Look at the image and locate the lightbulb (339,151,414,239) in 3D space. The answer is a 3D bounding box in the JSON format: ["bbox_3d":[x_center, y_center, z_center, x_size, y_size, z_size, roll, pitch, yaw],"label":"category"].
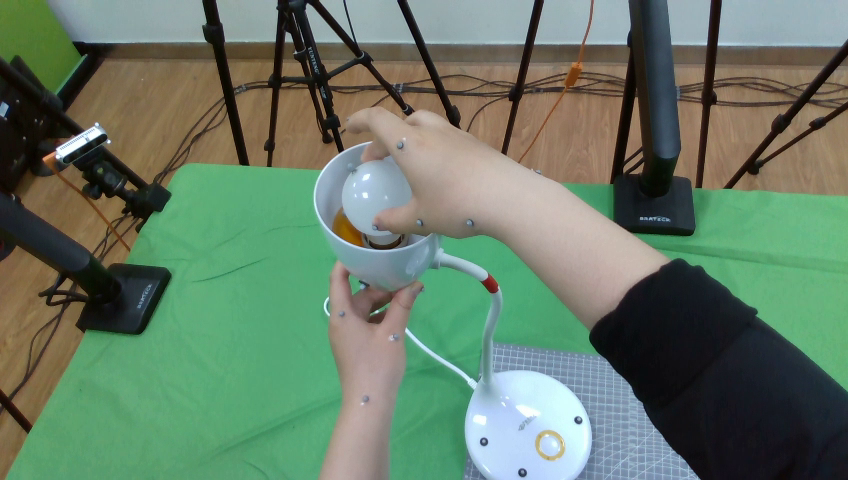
[{"bbox_3d":[-0.038,-0.029,0.500,0.059,0.108,0.059,1,63,-2],"label":"lightbulb"}]

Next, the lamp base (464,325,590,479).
[{"bbox_3d":[0.111,0.181,0.723,0.177,0.182,0.160,28,62,28],"label":"lamp base"}]

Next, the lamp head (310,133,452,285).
[{"bbox_3d":[-0.030,-0.013,0.525,0.112,0.124,0.111,-3,57,4],"label":"lamp head"}]
